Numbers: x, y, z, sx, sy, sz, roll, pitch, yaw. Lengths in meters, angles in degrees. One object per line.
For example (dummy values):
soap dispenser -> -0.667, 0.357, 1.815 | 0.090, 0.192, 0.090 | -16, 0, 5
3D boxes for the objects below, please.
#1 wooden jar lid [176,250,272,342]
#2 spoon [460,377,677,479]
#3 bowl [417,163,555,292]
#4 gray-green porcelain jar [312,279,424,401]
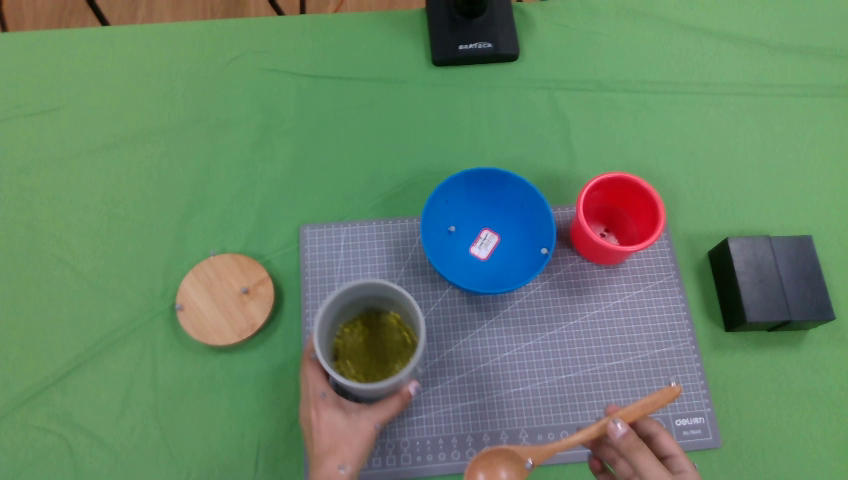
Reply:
wooden jar lid -> -0.227, 0.064, 0.695 | 0.108, 0.021, 0.107 | 0, 69, -1
spoon -> 0.116, 0.159, 0.494 | 0.193, 0.022, 0.041 | -29, 86, 16
bowl -> 0.067, -0.004, 0.694 | 0.151, 0.077, 0.150 | 1, 69, -1
gray-green porcelain jar -> -0.053, 0.108, 0.624 | 0.106, 0.127, 0.105 | 1, 69, -1
